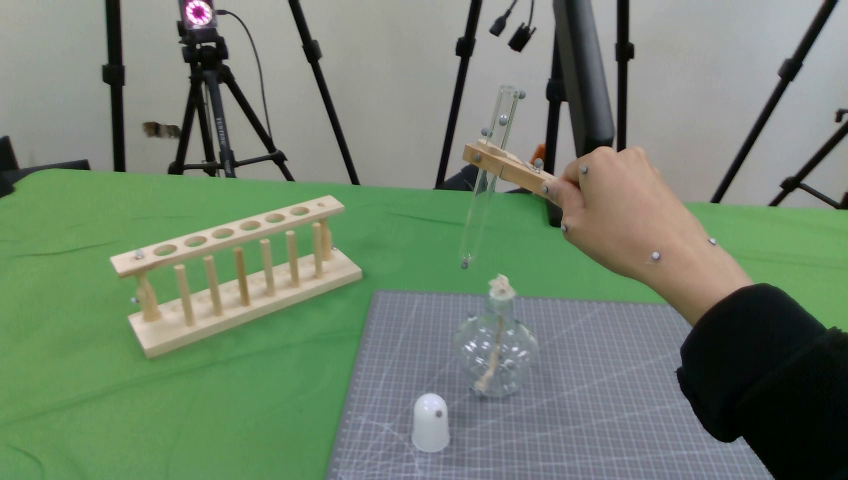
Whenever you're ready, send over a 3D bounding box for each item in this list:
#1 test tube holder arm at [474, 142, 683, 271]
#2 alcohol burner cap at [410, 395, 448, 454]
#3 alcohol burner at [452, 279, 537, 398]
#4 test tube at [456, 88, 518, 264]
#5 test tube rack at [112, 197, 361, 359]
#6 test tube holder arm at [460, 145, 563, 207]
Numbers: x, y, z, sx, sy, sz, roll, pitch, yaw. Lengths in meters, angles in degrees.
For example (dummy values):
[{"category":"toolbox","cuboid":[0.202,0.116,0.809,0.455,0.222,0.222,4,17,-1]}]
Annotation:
[{"category":"test tube holder arm","cuboid":[0.101,-0.029,0.428,0.013,0.015,0.176,-23,45,-40]},{"category":"alcohol burner cap","cuboid":[0.004,0.149,0.502,0.034,0.048,0.033,2,31,-1]},{"category":"alcohol burner","cuboid":[0.065,0.083,0.545,0.078,0.120,0.077,2,32,-1]},{"category":"test tube","cuboid":[0.047,-0.044,0.472,0.017,0.151,0.017,9,31,-5]},{"category":"test tube rack","cuboid":[-0.191,0.033,0.656,0.243,0.086,0.066,-20,37,-31]},{"category":"test tube holder arm","cuboid":[0.065,-0.048,0.447,0.087,0.015,0.010,29,37,26]}]
